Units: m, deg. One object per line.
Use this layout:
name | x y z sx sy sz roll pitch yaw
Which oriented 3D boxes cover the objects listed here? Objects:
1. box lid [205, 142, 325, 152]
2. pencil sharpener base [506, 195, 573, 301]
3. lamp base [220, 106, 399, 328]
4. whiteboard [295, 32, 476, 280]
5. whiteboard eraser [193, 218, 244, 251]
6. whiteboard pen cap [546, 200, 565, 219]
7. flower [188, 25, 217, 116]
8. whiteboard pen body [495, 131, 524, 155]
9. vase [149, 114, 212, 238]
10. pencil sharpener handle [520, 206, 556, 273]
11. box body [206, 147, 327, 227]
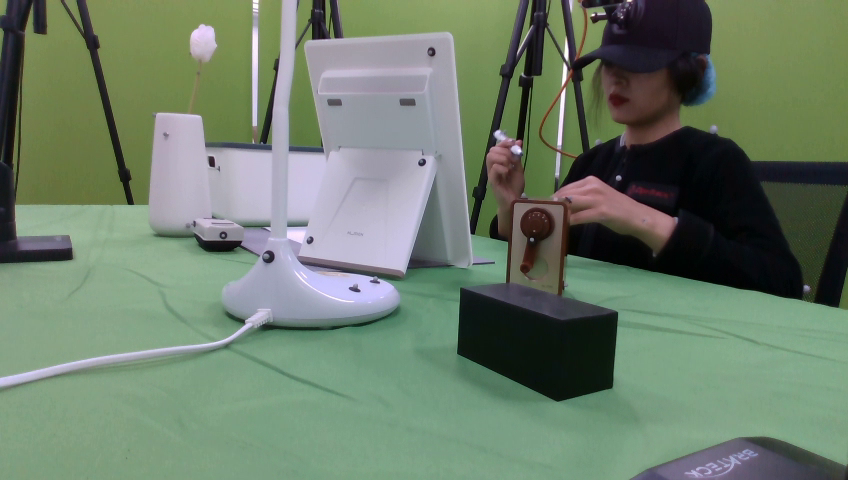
box lid | -0.270 -0.196 1.311 0.373 0.015 0.262 -2 9 -30
pencil sharpener base | 0.127 0.007 0.663 0.061 0.107 0.077 5 8 15
lamp base | -0.102 -0.023 0.531 0.160 0.180 0.179 4 10 10
whiteboard | -0.076 -0.084 0.747 0.216 0.305 0.144 7 28 29
whiteboard eraser | -0.307 -0.010 0.900 0.056 0.042 0.112 -4 10 -28
whiteboard pen cap | 0.199 -0.048 0.918 0.018 0.018 0.033 -1 33 -21
flower | -0.394 -0.189 1.011 0.044 0.361 0.038 -1 -13 28
whiteboard pen body | 0.158 -0.178 1.113 0.017 0.017 0.140 1 24 -14
vase | -0.405 -0.106 1.005 0.098 0.200 0.098 2 6 0
pencil sharpener handle | 0.111 0.000 0.613 0.036 0.067 0.031 13 10 14
box body | -0.276 -0.122 1.320 0.366 0.160 0.253 -2 9 -30
